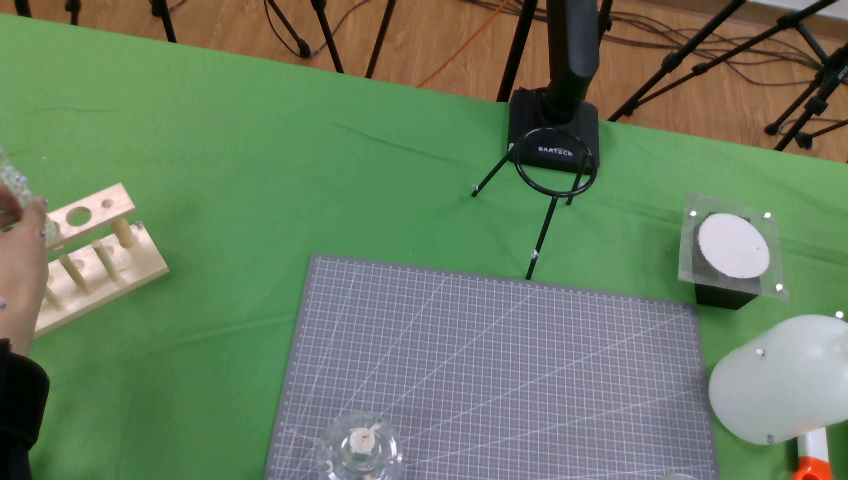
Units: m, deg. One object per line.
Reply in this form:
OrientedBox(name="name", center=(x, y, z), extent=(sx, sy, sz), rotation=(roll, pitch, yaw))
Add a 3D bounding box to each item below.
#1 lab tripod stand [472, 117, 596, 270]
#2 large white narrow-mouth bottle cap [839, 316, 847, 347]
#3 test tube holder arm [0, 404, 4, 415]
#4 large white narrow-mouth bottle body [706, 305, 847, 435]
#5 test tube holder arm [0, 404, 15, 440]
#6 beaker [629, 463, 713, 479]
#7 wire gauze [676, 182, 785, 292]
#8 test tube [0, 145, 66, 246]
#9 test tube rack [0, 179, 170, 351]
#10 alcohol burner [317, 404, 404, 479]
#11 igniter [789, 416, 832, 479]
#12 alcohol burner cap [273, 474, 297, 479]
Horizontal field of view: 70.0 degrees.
OrientedBox(name="lab tripod stand", center=(0.129, -0.058, 0.680), extent=(0.149, 0.132, 0.147), rotation=(4, 62, -8))
OrientedBox(name="large white narrow-mouth bottle cap", center=(0.373, 0.077, 0.509), extent=(0.038, 0.024, 0.037), rotation=(3, 61, -6))
OrientedBox(name="test tube holder arm", center=(-0.370, 0.215, 0.468), extent=(0.013, 0.015, 0.177), rotation=(10, 60, -3))
OrientedBox(name="large white narrow-mouth bottle body", center=(0.363, 0.119, 0.583), extent=(0.102, 0.196, 0.101), rotation=(3, 61, -5))
OrientedBox(name="test tube holder arm", center=(-0.359, 0.177, 0.491), extent=(0.010, 0.015, 0.087), rotation=(11, 60, -2))
OrientedBox(name="beaker", center=(0.208, 0.246, 0.543), extent=(0.084, 0.101, 0.073), rotation=(5, 60, -5))
OrientedBox(name="wire gauze", center=(0.352, -0.004, 0.699), extent=(0.121, 0.011, 0.124), rotation=(15, 60, 0))
OrientedBox(name="test tube", center=(-0.341, -0.037, 0.520), extent=(0.017, 0.151, 0.017), rotation=(4, 59, -6))
OrientedBox(name="test tube rack", center=(-0.382, 0.039, 0.578), extent=(0.242, 0.086, 0.066), rotation=(-30, 70, -22))
OrientedBox(name="alcohol burner", center=(-0.055, 0.179, 0.532), extent=(0.078, 0.120, 0.077), rotation=(5, 60, -8))
OrientedBox(name="igniter", center=(0.401, 0.228, 0.626), extent=(0.057, 0.025, 0.274), rotation=(22, 60, -11))
OrientedBox(name="alcohol burner cap", center=(-0.123, 0.225, 0.538), extent=(0.034, 0.048, 0.033), rotation=(3, 61, -5))
